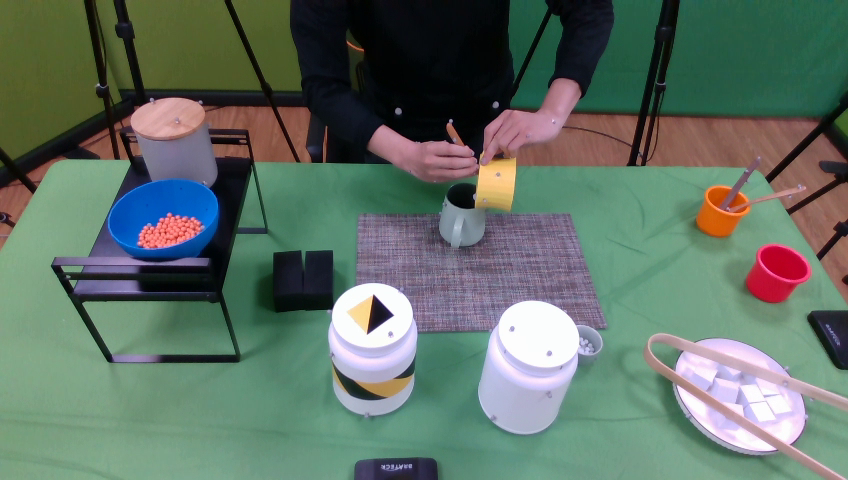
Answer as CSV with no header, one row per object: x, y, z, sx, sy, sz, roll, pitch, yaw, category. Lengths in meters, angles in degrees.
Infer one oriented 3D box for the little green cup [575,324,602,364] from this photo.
0.269,0.179,1.036,0.061,0.039,0.061,3,46,-2,little green cup

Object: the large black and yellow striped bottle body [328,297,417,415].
-0.078,0.167,0.920,0.131,0.185,0.130,2,46,-2,large black and yellow striped bottle body

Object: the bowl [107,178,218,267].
-0.374,-0.014,0.893,0.151,0.077,0.150,2,46,-2,bowl

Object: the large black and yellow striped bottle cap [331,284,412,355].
-0.073,0.111,0.858,0.115,0.019,0.114,2,46,-1,large black and yellow striped bottle cap

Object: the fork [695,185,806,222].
0.658,-0.074,1.229,0.207,0.019,0.028,-23,35,37,fork

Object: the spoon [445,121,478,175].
0.083,-0.137,1.053,0.021,0.195,0.041,23,72,49,spoon

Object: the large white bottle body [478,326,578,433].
0.156,0.192,0.913,0.131,0.185,0.130,2,46,-2,large white bottle body

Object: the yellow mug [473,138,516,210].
0.127,-0.120,1.089,0.064,0.131,0.099,6,26,2,yellow mug

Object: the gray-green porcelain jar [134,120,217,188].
-0.397,-0.141,0.979,0.106,0.127,0.105,2,47,-2,gray-green porcelain jar

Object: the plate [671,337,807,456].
0.504,0.254,0.984,0.208,0.039,0.206,2,46,-2,plate

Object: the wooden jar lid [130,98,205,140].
-0.393,-0.183,0.934,0.108,0.021,0.107,2,44,-2,wooden jar lid

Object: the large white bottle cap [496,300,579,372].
0.160,0.133,0.852,0.115,0.018,0.114,3,46,-3,large white bottle cap

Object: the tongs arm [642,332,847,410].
0.546,0.227,0.968,0.384,0.026,0.050,22,52,13,tongs arm

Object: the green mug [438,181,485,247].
0.072,-0.039,1.178,0.092,0.105,0.124,12,47,7,green mug

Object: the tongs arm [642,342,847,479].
0.504,0.279,0.918,0.386,0.028,0.028,33,59,22,tongs arm

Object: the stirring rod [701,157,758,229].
0.634,-0.096,1.257,0.014,0.006,0.176,38,97,29,stirring rod
